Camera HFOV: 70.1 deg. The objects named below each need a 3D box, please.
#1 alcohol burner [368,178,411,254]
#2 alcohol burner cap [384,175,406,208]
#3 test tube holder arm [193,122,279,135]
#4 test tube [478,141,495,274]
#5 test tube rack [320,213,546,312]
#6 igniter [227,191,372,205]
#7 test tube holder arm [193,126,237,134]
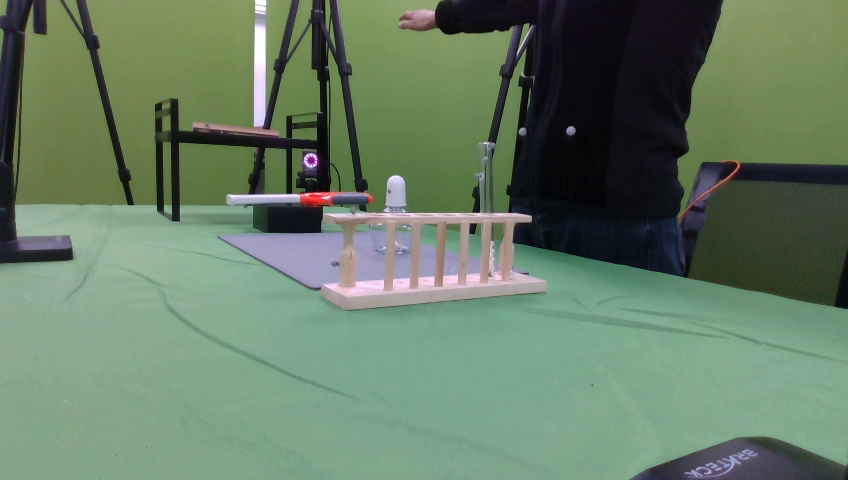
[{"bbox_3d":[-0.045,-0.038,0.913,0.078,0.119,0.078,5,7,0],"label":"alcohol burner"},{"bbox_3d":[-0.044,-0.074,0.908,0.034,0.048,0.034,1,12,0],"label":"alcohol burner cap"},{"bbox_3d":[-0.401,-0.238,1.301,0.179,0.015,0.013,-2,-21,-29],"label":"test tube holder arm"},{"bbox_3d":[0.071,-0.036,0.683,0.017,0.150,0.017,-2,8,1],"label":"test tube"},{"bbox_3d":[0.017,0.017,0.638,0.244,0.085,0.066,-2,9,-31],"label":"test tube rack"},{"bbox_3d":[-0.232,-0.080,1.162,0.278,0.025,0.057,-3,12,-28],"label":"igniter"},{"bbox_3d":[-0.443,-0.235,1.284,0.088,0.015,0.010,-2,-21,-28],"label":"test tube holder arm"}]
